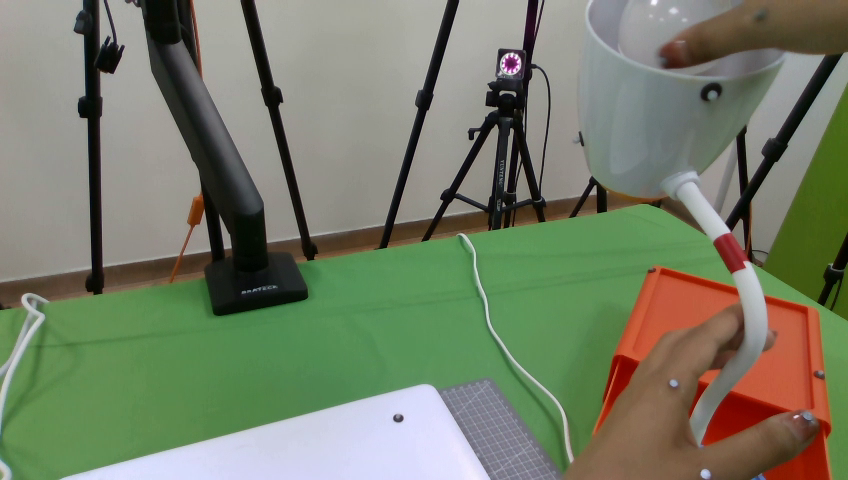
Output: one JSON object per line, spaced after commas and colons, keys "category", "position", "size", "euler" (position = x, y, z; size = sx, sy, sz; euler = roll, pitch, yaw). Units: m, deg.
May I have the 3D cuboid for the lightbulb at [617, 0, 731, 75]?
{"category": "lightbulb", "position": [0.141, -0.104, 0.360], "size": [0.059, 0.108, 0.059], "euler": [-2, 52, 3]}

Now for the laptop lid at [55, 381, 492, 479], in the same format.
{"category": "laptop lid", "position": [-0.108, 0.231, 0.485], "size": [0.358, 0.013, 0.239], "euler": [-8, 33, -21]}

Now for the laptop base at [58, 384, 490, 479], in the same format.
{"category": "laptop base", "position": [-0.109, 0.240, 0.493], "size": [0.355, 0.023, 0.233], "euler": [-9, 35, -22]}

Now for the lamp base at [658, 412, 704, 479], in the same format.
{"category": "lamp base", "position": [0.169, 0.217, 0.395], "size": [0.161, 0.181, 0.177], "euler": [1, 27, -8]}

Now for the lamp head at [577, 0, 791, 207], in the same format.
{"category": "lamp head", "position": [0.147, -0.081, 0.376], "size": [0.112, 0.124, 0.111], "euler": [-1, 43, 2]}

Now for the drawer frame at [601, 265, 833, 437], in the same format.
{"category": "drawer frame", "position": [0.326, 0.129, 0.680], "size": [0.200, 0.083, 0.213], "euler": [16, 30, 22]}

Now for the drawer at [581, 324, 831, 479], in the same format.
{"category": "drawer", "position": [0.275, 0.177, 0.592], "size": [0.193, 0.074, 0.211], "euler": [14, 30, 21]}

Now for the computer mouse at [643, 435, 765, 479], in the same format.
{"category": "computer mouse", "position": [0.254, 0.216, 0.547], "size": [0.117, 0.041, 0.062], "euler": [15, 30, 14]}
